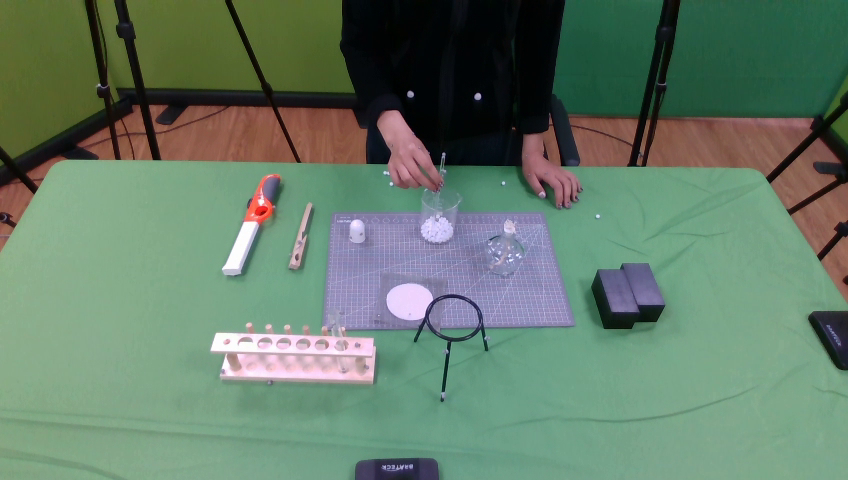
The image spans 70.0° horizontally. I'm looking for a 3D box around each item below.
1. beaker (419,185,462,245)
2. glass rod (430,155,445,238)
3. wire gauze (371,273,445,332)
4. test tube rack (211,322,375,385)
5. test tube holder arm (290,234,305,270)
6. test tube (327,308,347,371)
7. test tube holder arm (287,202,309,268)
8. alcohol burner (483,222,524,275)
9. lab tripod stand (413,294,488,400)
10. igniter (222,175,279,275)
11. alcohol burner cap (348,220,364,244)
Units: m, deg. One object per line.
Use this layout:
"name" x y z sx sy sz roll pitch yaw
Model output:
"beaker" 0.029 -0.047 1.191 0.084 0.101 0.073 -5 47 -10
"glass rod" 0.025 -0.077 1.142 0.008 0.200 0.008 4 43 -3
"wire gauze" -0.028 0.109 1.100 0.125 0.011 0.121 8 45 4
"test tube rack" -0.202 0.176 0.969 0.242 0.085 0.066 3 46 -2
"test tube holder arm" -0.243 0.021 1.164 0.010 0.015 0.087 30 39 -26
"test tube" -0.132 0.155 0.926 0.017 0.151 0.017 0 45 0
"test tube holder arm" -0.247 -0.013 1.193 0.013 0.015 0.177 29 39 -26
"alcohol burner" 0.153 0.010 1.136 0.078 0.119 0.077 4 46 -4
"lab tripod stand" 0.045 0.159 0.972 0.148 0.132 0.147 2 44 -2
"igniter" -0.341 -0.039 1.206 0.057 0.025 0.275 -1 45 9
"alcohol burner cap" -0.134 -0.019 1.190 0.034 0.048 0.033 2 46 -2
